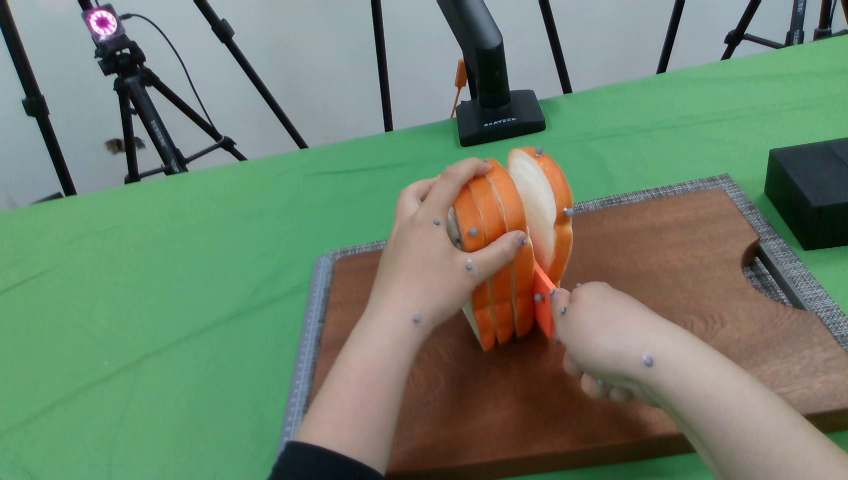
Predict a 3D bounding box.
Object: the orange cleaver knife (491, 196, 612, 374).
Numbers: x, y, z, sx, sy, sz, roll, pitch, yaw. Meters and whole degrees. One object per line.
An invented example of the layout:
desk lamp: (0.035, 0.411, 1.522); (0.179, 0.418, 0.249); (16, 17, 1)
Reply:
orange cleaver knife: (0.091, 0.039, 0.484); (0.012, 0.078, 0.209); (-16, 38, -7)

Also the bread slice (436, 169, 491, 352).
bread slice: (0.032, 0.009, 0.504); (0.018, 0.135, 0.106); (-13, 34, -6)

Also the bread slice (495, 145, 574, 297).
bread slice: (0.093, -0.011, 0.510); (0.019, 0.132, 0.103); (-9, 36, -16)
